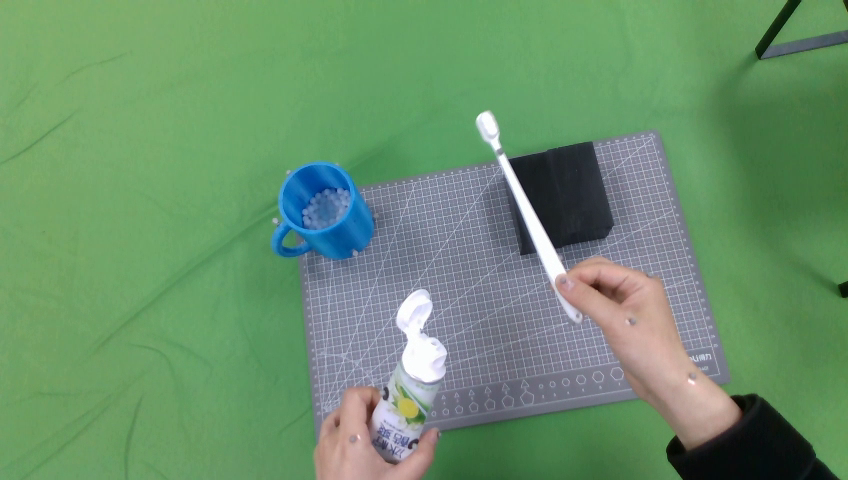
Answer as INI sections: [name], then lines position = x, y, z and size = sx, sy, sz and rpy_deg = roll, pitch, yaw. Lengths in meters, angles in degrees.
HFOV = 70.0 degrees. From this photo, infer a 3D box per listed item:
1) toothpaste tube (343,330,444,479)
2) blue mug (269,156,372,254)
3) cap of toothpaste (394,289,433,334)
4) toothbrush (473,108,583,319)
[toothpaste tube]
position = -0.022, 0.137, 0.478
size = 0.055, 0.034, 0.166
rpy_deg = 27, 119, 13
[blue mug]
position = -0.121, -0.026, 0.678
size = 0.116, 0.106, 0.082
rpy_deg = -38, 74, -4
[cap of toothpaste]
position = -0.007, 0.053, 0.446
size = 0.011, 0.038, 0.037
rpy_deg = 32, 80, 36
[toothbrush]
position = 0.082, -0.021, 0.471
size = 0.014, 0.016, 0.182
rpy_deg = -26, 90, -9
